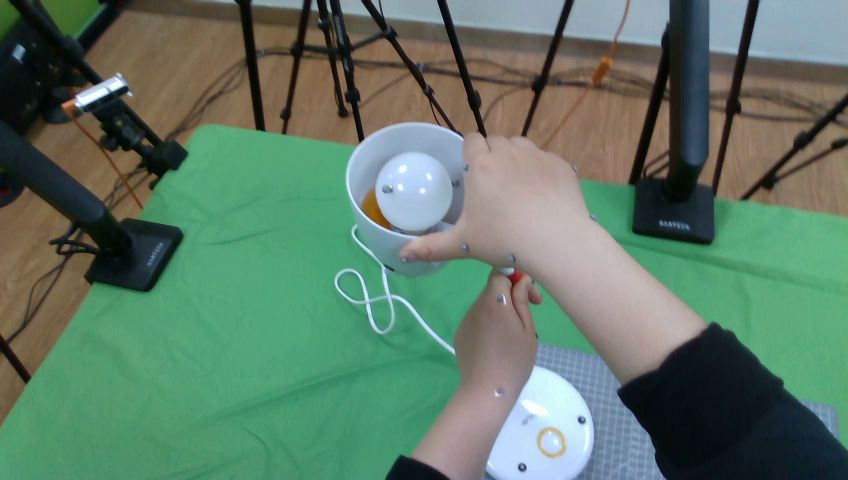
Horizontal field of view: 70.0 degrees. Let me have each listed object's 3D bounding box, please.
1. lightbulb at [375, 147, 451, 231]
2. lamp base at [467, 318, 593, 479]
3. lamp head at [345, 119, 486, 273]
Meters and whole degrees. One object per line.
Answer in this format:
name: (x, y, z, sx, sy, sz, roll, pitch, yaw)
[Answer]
lightbulb: (-0.008, -0.031, 0.492, 0.059, 0.108, 0.059, -1, 62, 2)
lamp base: (0.120, 0.175, 0.720, 0.177, 0.182, 0.160, 33, 63, 28)
lamp head: (-0.004, -0.023, 0.517, 0.112, 0.124, 0.111, -2, 59, 3)
